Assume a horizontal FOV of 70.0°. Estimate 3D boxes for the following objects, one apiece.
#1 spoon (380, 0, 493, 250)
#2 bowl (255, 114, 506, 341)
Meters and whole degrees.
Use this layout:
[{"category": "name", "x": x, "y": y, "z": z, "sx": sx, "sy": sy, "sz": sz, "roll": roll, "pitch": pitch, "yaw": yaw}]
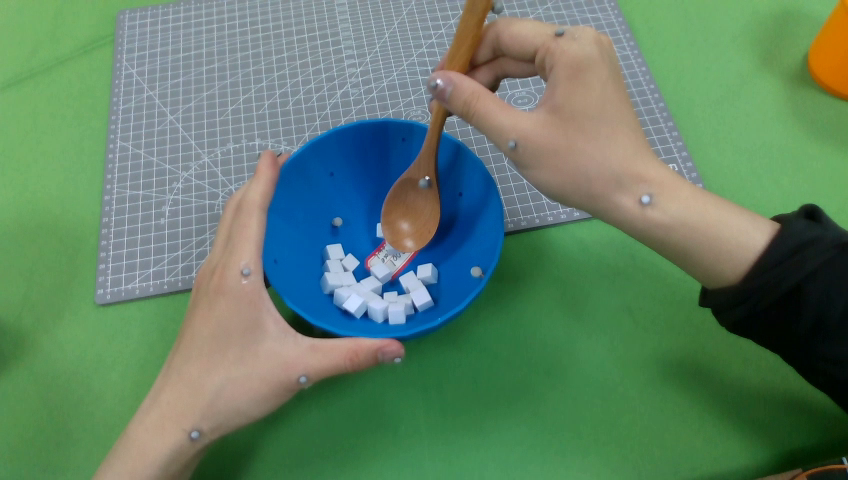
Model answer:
[{"category": "spoon", "x": 0.010, "y": -0.070, "z": 0.349, "sx": 0.041, "sy": 0.195, "sz": 0.021, "roll": 34, "pitch": 42, "yaw": 16}, {"category": "bowl", "x": -0.025, "y": 0.002, "z": 0.398, "sx": 0.151, "sy": 0.077, "sz": 0.150, "roll": 0, "pitch": 65, "yaw": 1}]
